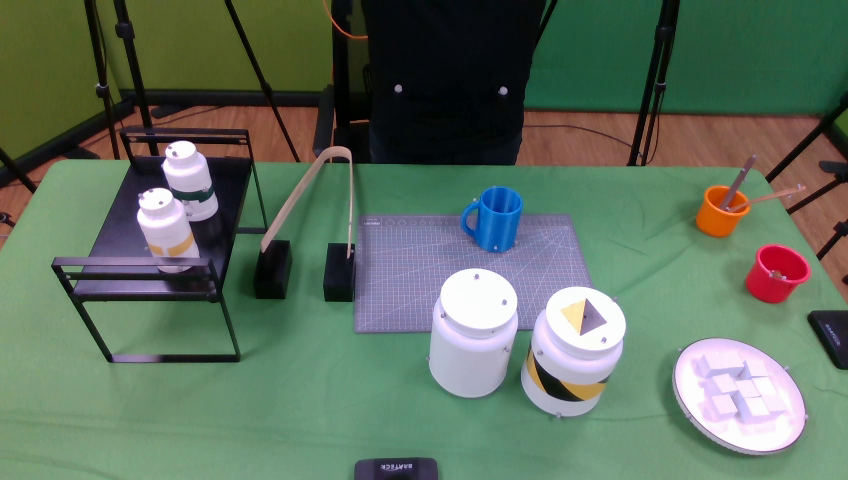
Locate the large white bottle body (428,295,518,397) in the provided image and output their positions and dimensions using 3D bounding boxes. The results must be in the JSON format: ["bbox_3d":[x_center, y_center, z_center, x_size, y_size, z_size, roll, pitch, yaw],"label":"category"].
[{"bbox_3d":[0.076,0.147,0.950,0.131,0.185,0.130,2,46,-2],"label":"large white bottle body"}]

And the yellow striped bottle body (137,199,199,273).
[{"bbox_3d":[-0.366,-0.014,0.864,0.063,0.121,0.062,2,46,-2],"label":"yellow striped bottle body"}]

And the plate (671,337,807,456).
[{"bbox_3d":[0.503,0.254,0.984,0.208,0.039,0.206,2,46,-2],"label":"plate"}]

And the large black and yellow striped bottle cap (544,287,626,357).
[{"bbox_3d":[0.232,0.116,0.876,0.115,0.019,0.114,1,45,-1],"label":"large black and yellow striped bottle cap"}]

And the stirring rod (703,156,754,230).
[{"bbox_3d":[0.631,-0.098,1.258,0.014,0.006,0.176,33,95,29],"label":"stirring rod"}]

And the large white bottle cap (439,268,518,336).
[{"bbox_3d":[0.080,0.089,0.888,0.115,0.018,0.114,2,47,-2],"label":"large white bottle cap"}]

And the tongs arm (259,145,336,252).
[{"bbox_3d":[-0.252,-0.098,1.233,0.028,0.028,0.385,5,36,10],"label":"tongs arm"}]

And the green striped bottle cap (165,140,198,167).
[{"bbox_3d":[-0.361,-0.129,0.902,0.044,0.020,0.044,3,47,-3],"label":"green striped bottle cap"}]

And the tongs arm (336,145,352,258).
[{"bbox_3d":[-0.169,-0.092,1.234,0.051,0.026,0.382,0,37,-3],"label":"tongs arm"}]

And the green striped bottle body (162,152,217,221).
[{"bbox_3d":[-0.363,-0.092,0.939,0.063,0.120,0.063,2,46,-2],"label":"green striped bottle body"}]

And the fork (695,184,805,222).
[{"bbox_3d":[0.657,-0.075,1.230,0.207,0.019,0.028,-23,34,37],"label":"fork"}]

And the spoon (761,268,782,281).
[{"bbox_3d":[0.638,0.060,1.105,0.041,0.021,0.194,38,11,24],"label":"spoon"}]

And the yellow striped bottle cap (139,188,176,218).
[{"bbox_3d":[-0.363,-0.051,0.826,0.044,0.019,0.044,1,47,-1],"label":"yellow striped bottle cap"}]

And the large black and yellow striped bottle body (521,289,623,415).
[{"bbox_3d":[0.228,0.173,0.937,0.131,0.185,0.130,2,47,-2],"label":"large black and yellow striped bottle body"}]

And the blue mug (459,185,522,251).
[{"bbox_3d":[0.126,-0.042,1.185,0.116,0.106,0.082,0,47,-4],"label":"blue mug"}]
